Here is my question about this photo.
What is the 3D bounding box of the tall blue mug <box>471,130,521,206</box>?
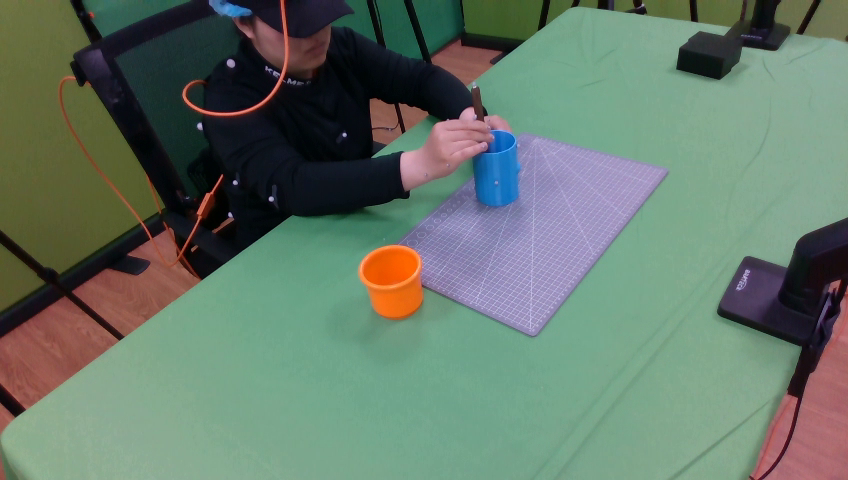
[{"bbox_3d":[0.118,-0.132,1.046,0.078,0.108,0.106,-20,41,-10],"label":"tall blue mug"}]

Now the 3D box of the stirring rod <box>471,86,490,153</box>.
[{"bbox_3d":[0.095,-0.166,0.968,0.014,0.177,0.005,-24,40,-11],"label":"stirring rod"}]
